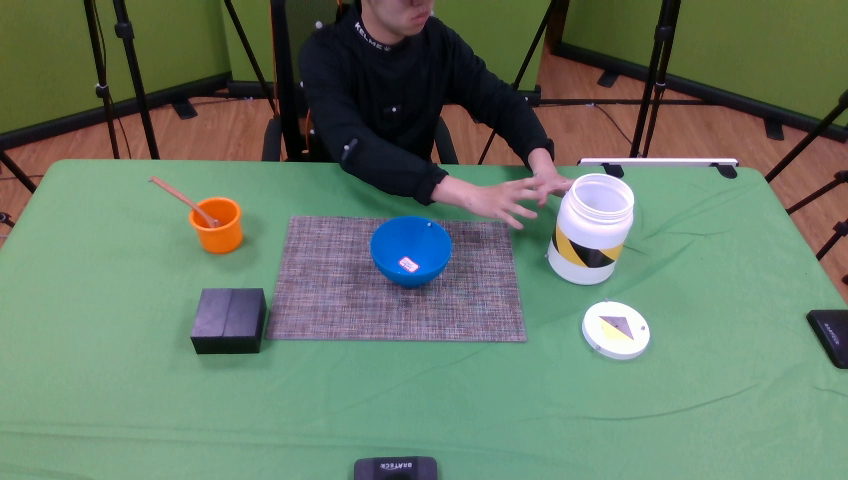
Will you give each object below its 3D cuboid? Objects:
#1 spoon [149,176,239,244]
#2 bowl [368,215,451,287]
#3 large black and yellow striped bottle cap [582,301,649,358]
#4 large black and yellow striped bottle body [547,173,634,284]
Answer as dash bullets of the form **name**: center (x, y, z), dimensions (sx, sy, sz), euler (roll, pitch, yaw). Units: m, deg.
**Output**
- **spoon**: center (-0.427, -0.057, 1.132), dimensions (0.021, 0.195, 0.041), euler (-27, 31, 34)
- **bowl**: center (-0.028, 0.033, 1.119), dimensions (0.151, 0.077, 0.150), euler (2, 46, -2)
- **large black and yellow striped bottle cap**: center (0.340, 0.157, 1.077), dimensions (0.115, 0.019, 0.114), euler (1, 47, -1)
- **large black and yellow striped bottle body**: center (0.310, -0.022, 1.129), dimensions (0.131, 0.185, 0.130), euler (2, 47, -2)
